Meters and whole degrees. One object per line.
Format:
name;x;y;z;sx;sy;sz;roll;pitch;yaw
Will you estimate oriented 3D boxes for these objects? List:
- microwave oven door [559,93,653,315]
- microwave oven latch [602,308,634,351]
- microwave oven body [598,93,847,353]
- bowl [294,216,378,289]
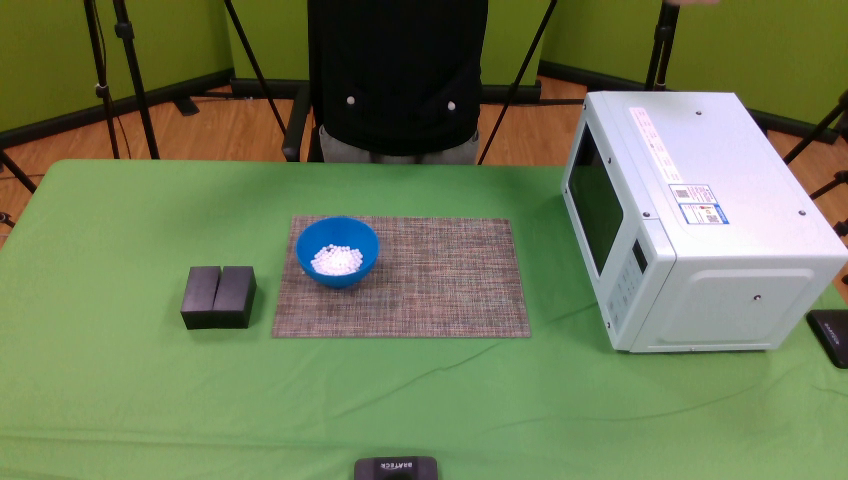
microwave oven door;0.327;-0.074;1.123;0.039;0.245;0.353;-1;46;-5
microwave oven latch;0.332;0.153;1.044;0.030;0.029;0.078;-1;45;-4
microwave oven body;0.475;-0.041;1.109;0.326;0.261;0.438;-1;45;-4
bowl;-0.158;0.036;1.110;0.151;0.077;0.150;3;45;-2
